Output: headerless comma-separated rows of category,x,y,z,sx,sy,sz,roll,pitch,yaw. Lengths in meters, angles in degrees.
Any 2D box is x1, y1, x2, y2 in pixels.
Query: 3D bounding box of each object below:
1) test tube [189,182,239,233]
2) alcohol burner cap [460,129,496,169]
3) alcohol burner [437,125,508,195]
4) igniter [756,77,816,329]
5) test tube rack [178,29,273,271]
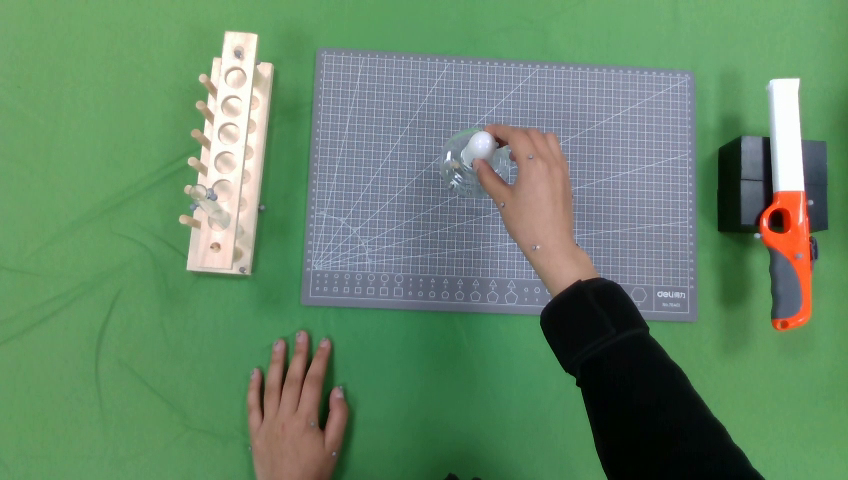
test tube,-0.201,-0.028,0.589,0.017,0.150,0.017,1,78,-6
alcohol burner cap,0.056,-0.094,0.609,0.034,0.048,0.033,1,77,-6
alcohol burner,0.054,-0.089,0.644,0.078,0.119,0.077,0,85,-2
igniter,0.391,-0.042,0.658,0.057,0.025,0.275,1,83,9
test tube rack,-0.215,-0.092,0.645,0.067,0.085,0.241,5,83,-2
